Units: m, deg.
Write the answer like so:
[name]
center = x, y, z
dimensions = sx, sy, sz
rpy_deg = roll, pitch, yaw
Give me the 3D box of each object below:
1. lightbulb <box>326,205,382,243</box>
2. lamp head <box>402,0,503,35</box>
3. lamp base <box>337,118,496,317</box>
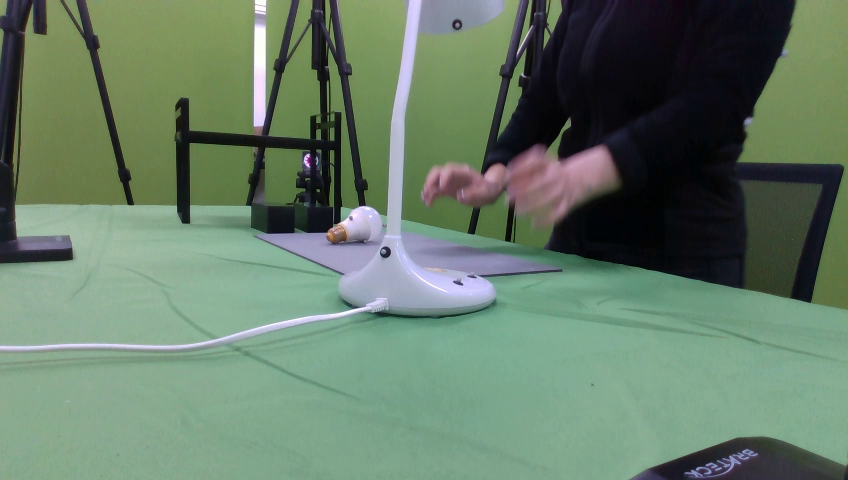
[lightbulb]
center = -0.117, -0.021, 0.999
dimensions = 0.059, 0.059, 0.108
rpy_deg = 10, 25, 43
[lamp head]
center = 0.021, -0.292, 0.642
dimensions = 0.112, 0.123, 0.112
rpy_deg = -9, 44, 9
[lamp base]
center = -0.008, -0.025, 0.589
dimensions = 0.160, 0.180, 0.179
rpy_deg = 4, 10, 15
